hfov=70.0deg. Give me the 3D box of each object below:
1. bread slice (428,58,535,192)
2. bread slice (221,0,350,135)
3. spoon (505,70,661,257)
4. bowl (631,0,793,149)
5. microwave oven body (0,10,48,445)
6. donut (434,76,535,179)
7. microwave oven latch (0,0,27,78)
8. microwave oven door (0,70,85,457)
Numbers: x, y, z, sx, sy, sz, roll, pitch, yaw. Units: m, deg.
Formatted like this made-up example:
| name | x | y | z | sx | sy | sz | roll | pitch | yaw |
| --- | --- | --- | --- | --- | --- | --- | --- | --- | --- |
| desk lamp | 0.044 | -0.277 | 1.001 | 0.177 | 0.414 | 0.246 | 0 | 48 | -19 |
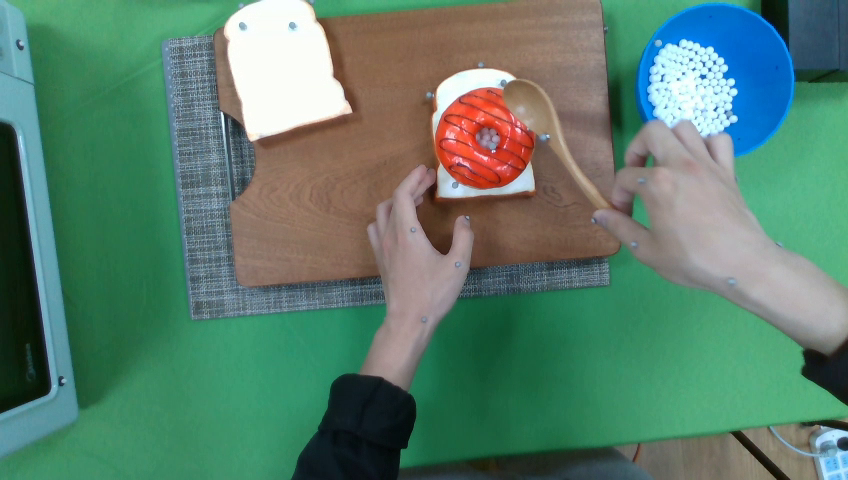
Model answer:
| name | x | y | z | sx | sy | sz | roll | pitch | yaw |
| --- | --- | --- | --- | --- | --- | --- | --- | --- | --- |
| bread slice | 0.054 | -0.117 | 0.614 | 0.105 | 0.019 | 0.131 | -6 | 93 | -1 |
| bread slice | -0.147 | -0.181 | 0.611 | 0.107 | 0.018 | 0.134 | -20 | 91 | 0 |
| spoon | 0.129 | -0.063 | 0.499 | 0.022 | 0.042 | 0.192 | -21 | 73 | -40 |
| bowl | 0.275 | -0.162 | 0.611 | 0.151 | 0.077 | 0.151 | 0 | 92 | 0 |
| microwave oven body | -0.551 | -0.008 | 0.522 | 0.326 | 0.260 | 0.441 | -8 | 92 | 0 |
| donut | 0.058 | -0.108 | 0.584 | 0.099 | 0.048 | 0.099 | 0 | 93 | 0 |
| microwave oven latch | -0.427 | -0.205 | 0.612 | 0.030 | 0.029 | 0.079 | -8 | 92 | 0 |
| microwave oven door | -0.400 | 0.013 | 0.518 | 0.039 | 0.243 | 0.355 | -8 | 91 | 1 |
